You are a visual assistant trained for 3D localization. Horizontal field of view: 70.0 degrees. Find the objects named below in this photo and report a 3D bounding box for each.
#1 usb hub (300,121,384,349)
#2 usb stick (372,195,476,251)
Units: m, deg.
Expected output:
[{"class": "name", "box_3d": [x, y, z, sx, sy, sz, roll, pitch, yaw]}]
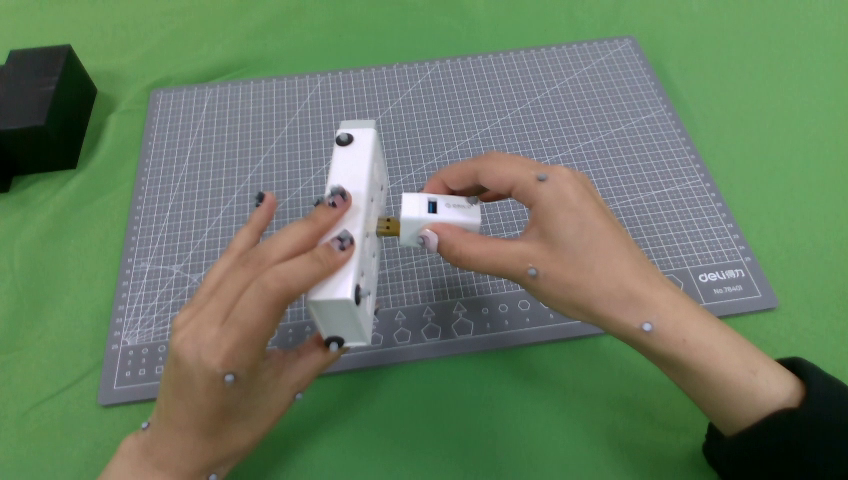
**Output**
[{"class": "usb hub", "box_3d": [-0.041, -0.007, 0.334, 0.025, 0.050, 0.124, -3, 53, 7]}, {"class": "usb stick", "box_3d": [-0.001, -0.009, 0.339, 0.059, 0.027, 0.021, 0, 38, 3]}]
